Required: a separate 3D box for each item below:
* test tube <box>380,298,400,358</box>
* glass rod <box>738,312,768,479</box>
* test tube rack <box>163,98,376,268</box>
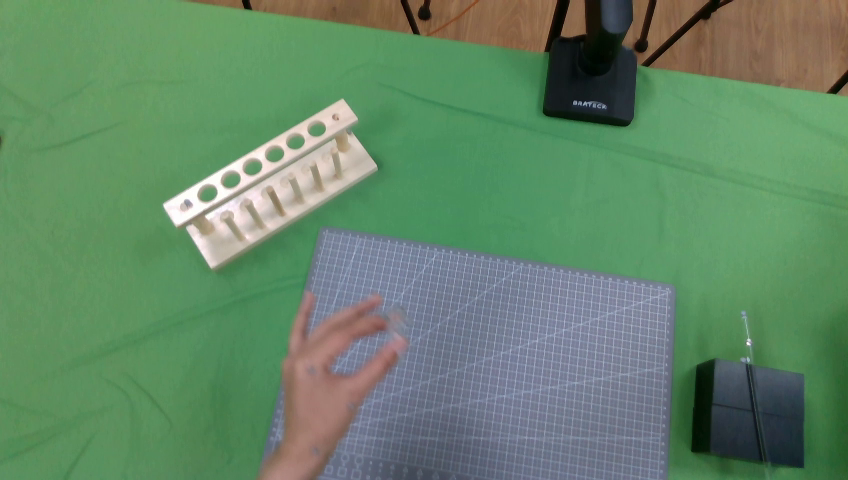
[{"bbox_3d":[-0.030,0.082,0.540,0.017,0.151,0.017,1,66,-2],"label":"test tube"},{"bbox_3d":[0.358,0.176,0.658,0.008,0.008,0.198,1,72,0],"label":"glass rod"},{"bbox_3d":[-0.180,-0.069,0.744,0.242,0.085,0.066,-33,74,-11],"label":"test tube rack"}]
